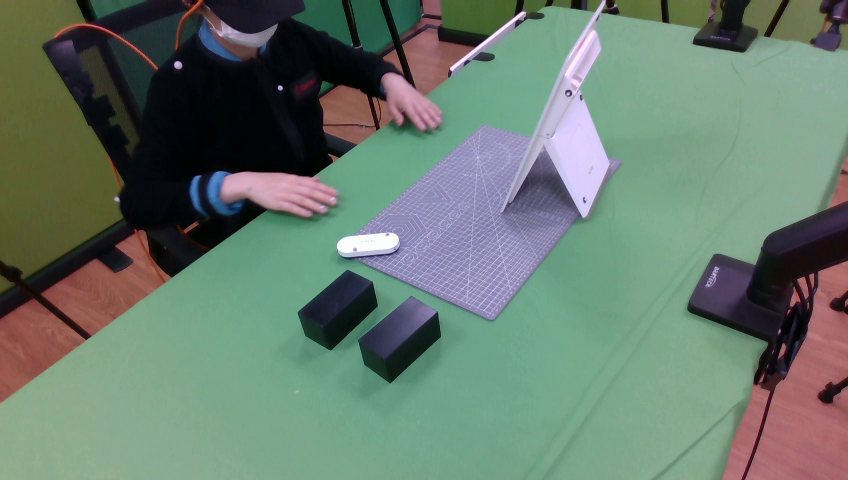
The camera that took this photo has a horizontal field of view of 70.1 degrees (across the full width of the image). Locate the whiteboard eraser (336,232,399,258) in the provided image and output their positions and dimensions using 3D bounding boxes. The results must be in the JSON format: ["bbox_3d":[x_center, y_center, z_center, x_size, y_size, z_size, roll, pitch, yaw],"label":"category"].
[{"bbox_3d":[-0.091,0.008,0.970,0.101,0.019,0.041,-4,41,2],"label":"whiteboard eraser"}]

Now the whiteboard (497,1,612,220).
[{"bbox_3d":[0.259,-0.177,0.963,0.143,0.306,0.217,28,48,9],"label":"whiteboard"}]
